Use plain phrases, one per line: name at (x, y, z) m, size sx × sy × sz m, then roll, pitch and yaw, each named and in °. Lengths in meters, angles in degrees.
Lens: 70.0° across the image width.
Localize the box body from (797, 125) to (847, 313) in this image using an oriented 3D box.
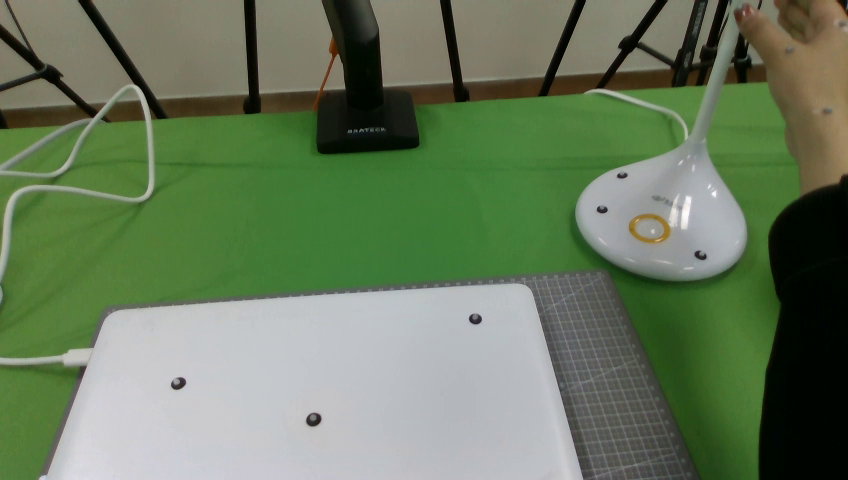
box body at (0.485, 0.050, 0.424) m, size 0.254 × 0.162 × 0.360 m, roll -5°, pitch 43°, yaw -5°

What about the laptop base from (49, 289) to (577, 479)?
laptop base at (-0.077, 0.137, 0.436) m, size 0.355 × 0.023 × 0.233 m, roll -3°, pitch 46°, yaw -3°

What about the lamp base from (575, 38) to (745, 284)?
lamp base at (0.234, -0.081, 0.552) m, size 0.159 × 0.182 × 0.178 m, roll 21°, pitch 44°, yaw 22°

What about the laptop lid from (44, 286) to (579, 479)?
laptop lid at (-0.077, 0.130, 0.426) m, size 0.357 × 0.013 × 0.239 m, roll -2°, pitch 45°, yaw -2°
